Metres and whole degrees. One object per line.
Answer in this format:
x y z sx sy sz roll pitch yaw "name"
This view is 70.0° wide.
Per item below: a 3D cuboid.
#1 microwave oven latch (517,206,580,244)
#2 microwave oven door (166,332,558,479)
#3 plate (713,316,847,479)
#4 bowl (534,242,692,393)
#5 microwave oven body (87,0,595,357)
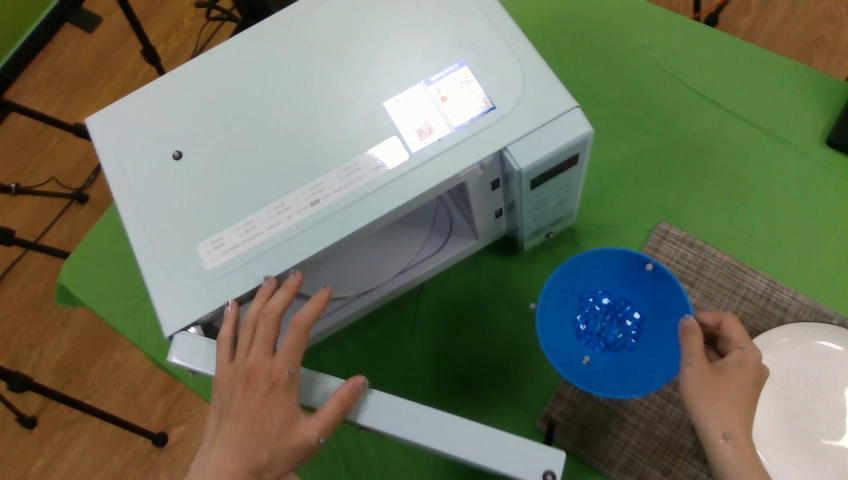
0.155 -0.027 0.755 0.079 0.030 0.030 -28 70 0 "microwave oven latch"
-0.044 0.168 0.611 0.354 0.245 0.039 14 74 13 "microwave oven door"
0.420 0.188 0.655 0.207 0.039 0.206 -3 71 8 "plate"
0.189 0.085 0.627 0.151 0.077 0.150 -2 72 8 "bowl"
-0.084 -0.090 0.712 0.442 0.262 0.323 -30 70 -1 "microwave oven body"
